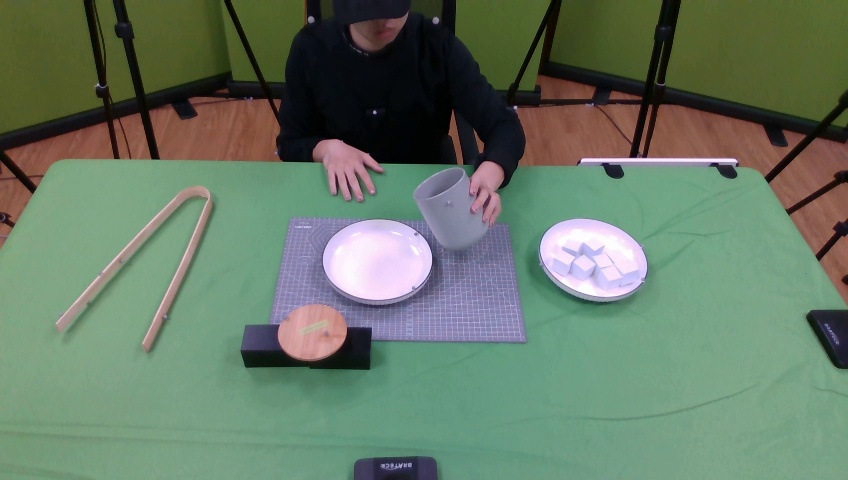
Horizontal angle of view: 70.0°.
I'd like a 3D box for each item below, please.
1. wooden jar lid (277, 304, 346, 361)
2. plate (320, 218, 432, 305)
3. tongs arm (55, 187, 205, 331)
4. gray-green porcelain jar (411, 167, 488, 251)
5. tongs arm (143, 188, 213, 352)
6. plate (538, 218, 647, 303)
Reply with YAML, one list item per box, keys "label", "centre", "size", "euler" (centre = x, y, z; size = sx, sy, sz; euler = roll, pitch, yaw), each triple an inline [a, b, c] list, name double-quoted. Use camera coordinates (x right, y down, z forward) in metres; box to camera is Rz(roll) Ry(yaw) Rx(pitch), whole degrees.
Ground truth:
- label: "wooden jar lid"
  centre: [-0.179, 0.150, 0.972]
  size: [0.108, 0.021, 0.107]
  euler: [2, 45, -2]
- label: "plate"
  centre: [-0.089, 0.044, 1.134]
  size: [0.209, 0.038, 0.208]
  euler: [3, 46, -2]
- label: "tongs arm"
  centre: [-0.530, 0.022, 1.126]
  size: [0.051, 0.026, 0.383]
  euler: [15, 46, 8]
- label: "gray-green porcelain jar"
  centre: [0.052, -0.052, 1.107]
  size: [0.106, 0.127, 0.105]
  euler: [-24, 27, 13]
- label: "tongs arm"
  centre: [-0.449, 0.040, 1.122]
  size: [0.028, 0.028, 0.385]
  euler: [2, 46, 1]
- label: "plate"
  centre: [0.322, 0.043, 1.171]
  size: [0.208, 0.039, 0.206]
  euler: [2, 46, -2]
